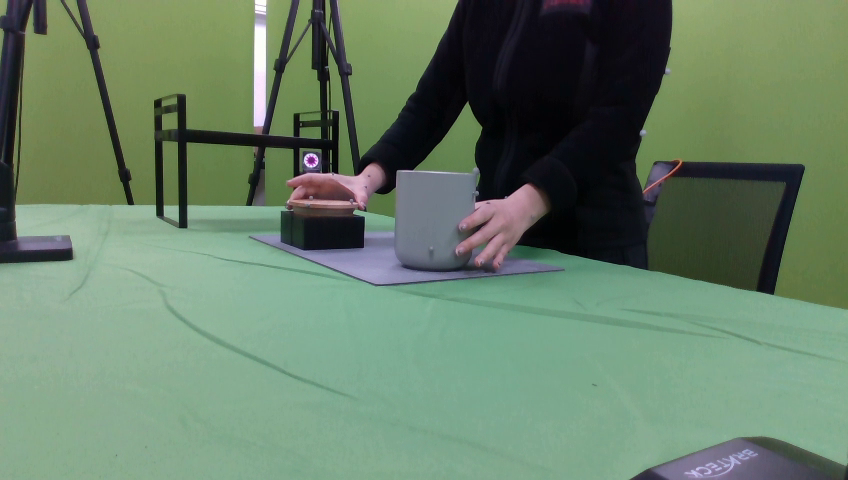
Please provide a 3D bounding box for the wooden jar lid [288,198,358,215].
[{"bbox_3d":[-0.158,-0.053,0.950,0.108,0.020,0.108,3,9,0],"label":"wooden jar lid"}]

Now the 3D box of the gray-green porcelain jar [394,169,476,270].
[{"bbox_3d":[0.014,-0.029,0.793,0.106,0.126,0.106,2,7,0],"label":"gray-green porcelain jar"}]
